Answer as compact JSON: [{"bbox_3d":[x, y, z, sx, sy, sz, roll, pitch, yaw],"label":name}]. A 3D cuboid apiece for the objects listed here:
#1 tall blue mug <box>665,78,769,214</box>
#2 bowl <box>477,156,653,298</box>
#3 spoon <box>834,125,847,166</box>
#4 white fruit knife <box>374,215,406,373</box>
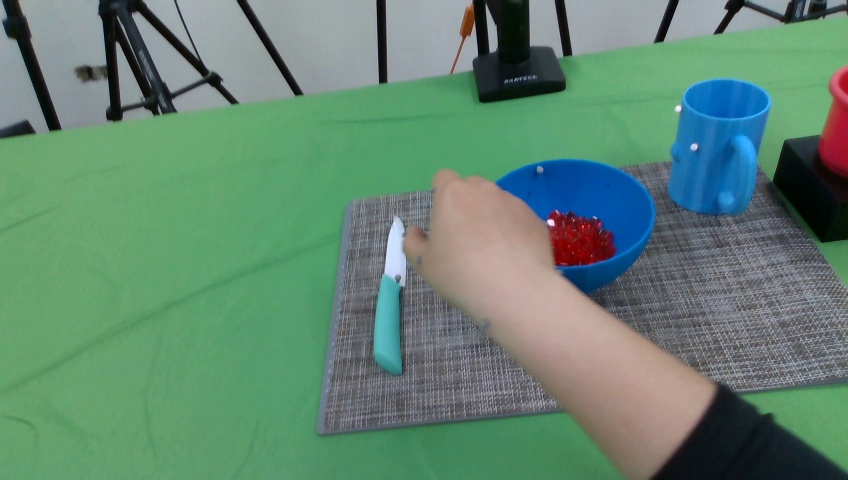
[{"bbox_3d":[0.291,-0.084,0.585,0.078,0.109,0.106,-25,43,-16],"label":"tall blue mug"},{"bbox_3d":[0.126,-0.001,0.552,0.151,0.077,0.150,-6,42,6],"label":"bowl"},{"bbox_3d":[0.427,-0.151,0.536,0.041,0.022,0.194,32,101,40],"label":"spoon"},{"bbox_3d":[-0.031,0.041,0.589,0.027,0.016,0.205,16,38,-13],"label":"white fruit knife"}]
